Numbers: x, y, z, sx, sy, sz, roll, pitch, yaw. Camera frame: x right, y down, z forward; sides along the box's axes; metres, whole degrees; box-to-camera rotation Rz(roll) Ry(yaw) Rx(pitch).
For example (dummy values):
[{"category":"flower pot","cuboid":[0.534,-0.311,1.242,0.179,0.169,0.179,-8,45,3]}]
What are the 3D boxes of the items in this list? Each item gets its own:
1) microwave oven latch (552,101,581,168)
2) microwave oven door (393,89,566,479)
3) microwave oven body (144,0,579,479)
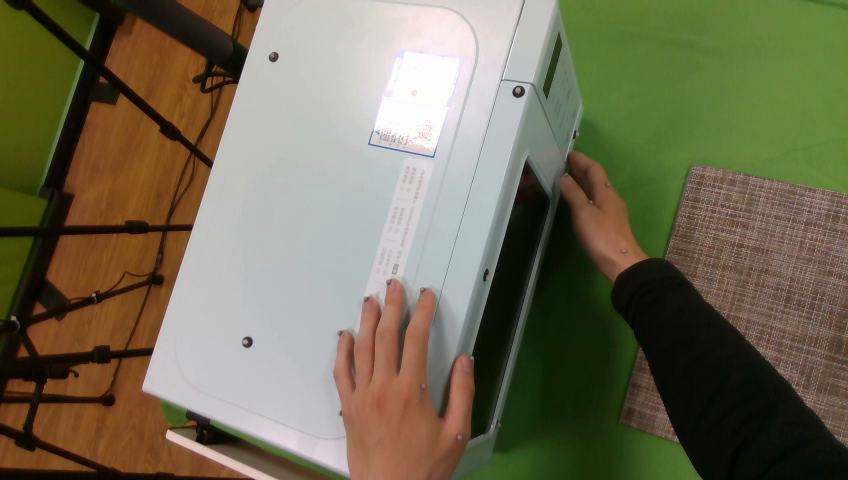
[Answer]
[{"category":"microwave oven latch","cuboid":[0.164,-0.127,0.715,0.030,0.030,0.079,15,86,22]},{"category":"microwave oven door","cuboid":[0.067,0.063,0.603,0.039,0.245,0.355,14,84,22]},{"category":"microwave oven body","cuboid":[-0.051,-0.008,0.665,0.324,0.262,0.441,14,85,21]}]
